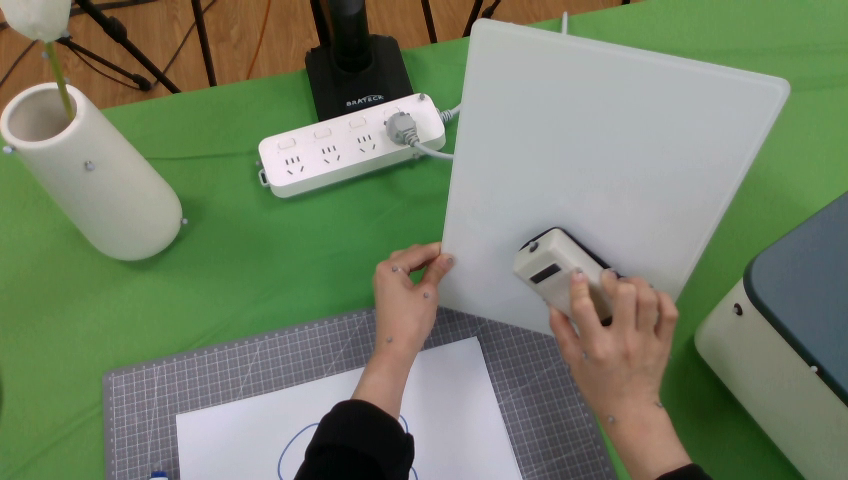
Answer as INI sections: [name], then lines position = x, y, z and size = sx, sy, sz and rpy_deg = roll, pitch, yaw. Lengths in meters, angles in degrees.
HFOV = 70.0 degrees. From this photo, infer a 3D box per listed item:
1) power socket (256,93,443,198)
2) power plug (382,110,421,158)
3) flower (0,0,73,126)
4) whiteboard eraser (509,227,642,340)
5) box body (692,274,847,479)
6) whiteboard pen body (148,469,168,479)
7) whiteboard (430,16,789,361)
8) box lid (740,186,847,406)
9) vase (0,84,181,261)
[power socket]
position = -0.084, -0.110, 0.700
size = 0.227, 0.033, 0.071
rpy_deg = -18, 66, -9
[power plug]
position = -0.026, -0.111, 0.675
size = 0.035, 0.053, 0.072
rpy_deg = -9, 70, -4
[flower]
position = -0.293, -0.092, 0.508
size = 0.038, 0.363, 0.044
rpy_deg = 34, 58, -2
[whiteboard eraser]
position = 0.132, 0.038, 0.529
size = 0.113, 0.055, 0.041
rpy_deg = 39, 41, -14
[box body]
position = 0.446, 0.131, 0.504
size = 0.254, 0.161, 0.361
rpy_deg = -31, 67, -14
[whiteboard pen body]
position = -0.230, 0.268, 0.514
size = 0.017, 0.017, 0.139
rpy_deg = -6, 66, -2
[whiteboard]
position = 0.142, -0.060, 0.556
size = 0.217, 0.308, 0.143
rpy_deg = 15, 44, 9
[box lid]
position = 0.444, 0.094, 0.438
size = 0.263, 0.015, 0.368
rpy_deg = -31, 67, -13
[vase]
position = -0.313, -0.058, 0.583
size = 0.098, 0.201, 0.097
rpy_deg = -1, 63, 2
